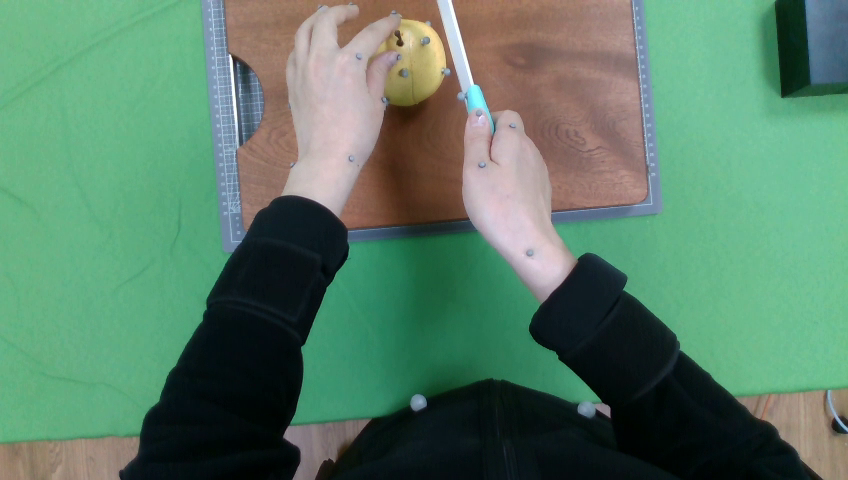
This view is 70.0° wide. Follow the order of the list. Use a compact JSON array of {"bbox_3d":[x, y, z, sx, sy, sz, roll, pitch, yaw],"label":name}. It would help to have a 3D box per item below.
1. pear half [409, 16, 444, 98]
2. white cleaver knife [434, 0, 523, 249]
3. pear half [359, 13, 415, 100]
[{"bbox_3d":[0.003,-0.168,0.551,0.031,0.088,0.070,-2,84,1],"label":"pear half"},{"bbox_3d":[0.032,-0.131,0.475,0.021,0.065,0.287,-15,96,-1],"label":"white cleaver knife"},{"bbox_3d":[-0.033,-0.169,0.542,0.056,0.110,0.076,-2,85,3],"label":"pear half"}]
